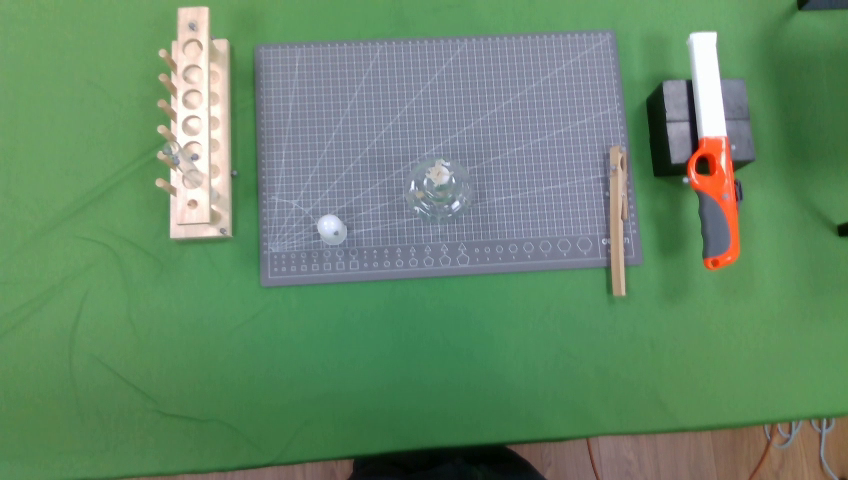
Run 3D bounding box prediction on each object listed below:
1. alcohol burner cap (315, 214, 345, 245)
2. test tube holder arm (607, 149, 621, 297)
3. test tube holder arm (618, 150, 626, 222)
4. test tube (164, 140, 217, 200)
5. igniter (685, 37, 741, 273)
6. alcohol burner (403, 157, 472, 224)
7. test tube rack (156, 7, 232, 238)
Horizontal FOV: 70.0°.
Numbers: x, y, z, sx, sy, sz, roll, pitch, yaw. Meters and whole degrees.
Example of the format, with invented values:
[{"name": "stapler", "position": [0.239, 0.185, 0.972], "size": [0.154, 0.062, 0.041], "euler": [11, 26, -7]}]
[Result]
[{"name": "alcohol burner cap", "position": [-0.109, -0.014, 0.692], "size": [0.034, 0.048, 0.033], "euler": [0, 79, -2]}, {"name": "test tube holder arm", "position": [0.225, -0.022, 0.715], "size": [0.013, 0.015, 0.177], "euler": [11, 77, -30]}, {"name": "test tube holder arm", "position": [0.234, -0.065, 0.727], "size": [0.010, 0.015, 0.087], "euler": [11, 77, -30]}, {"name": "test tube", "position": [-0.238, -0.069, 0.627], "size": [0.017, 0.150, 0.017], "euler": [1, 77, -5]}, {"name": "igniter", "position": [0.325, -0.100, 0.689], "size": [0.057, 0.025, 0.275], "euler": [-1, 80, 4]}, {"name": "alcohol burner", "position": [0.015, -0.059, 0.669], "size": [0.078, 0.119, 0.077], "euler": [0, 81, -1]}, {"name": "test tube rack", "position": [-0.263, -0.129, 0.686], "size": [0.067, 0.085, 0.241], "euler": [-2, 80, -2]}]
